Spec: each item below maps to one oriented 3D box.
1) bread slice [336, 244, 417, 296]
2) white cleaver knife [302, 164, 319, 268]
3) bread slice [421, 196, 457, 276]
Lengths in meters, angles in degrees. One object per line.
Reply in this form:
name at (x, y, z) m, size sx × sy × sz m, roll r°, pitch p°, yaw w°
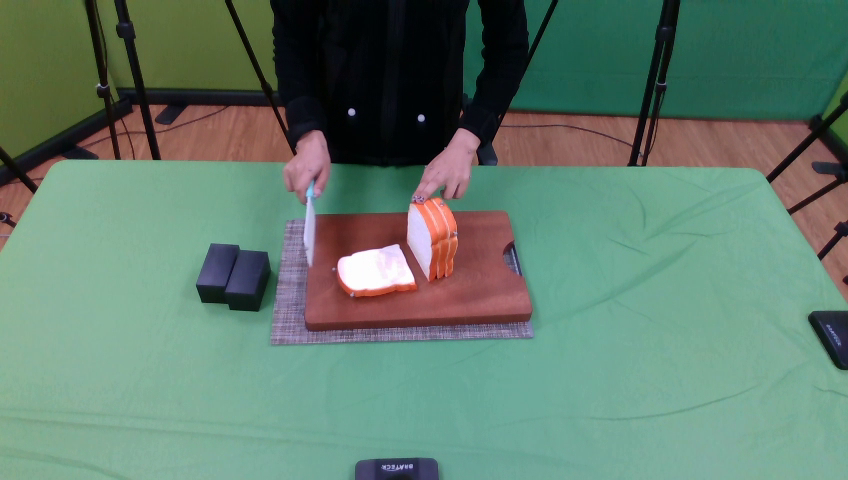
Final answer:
bread slice at (-0.091, 0.054, 1.097) m, size 0.134 × 0.018 × 0.106 m, roll -7°, pitch 44°, yaw -16°
white cleaver knife at (-0.204, -0.051, 1.076) m, size 0.021 × 0.066 × 0.284 m, roll -3°, pitch 34°, yaw -4°
bread slice at (0.028, -0.013, 1.098) m, size 0.019 × 0.132 × 0.104 m, roll -16°, pitch 50°, yaw -22°
